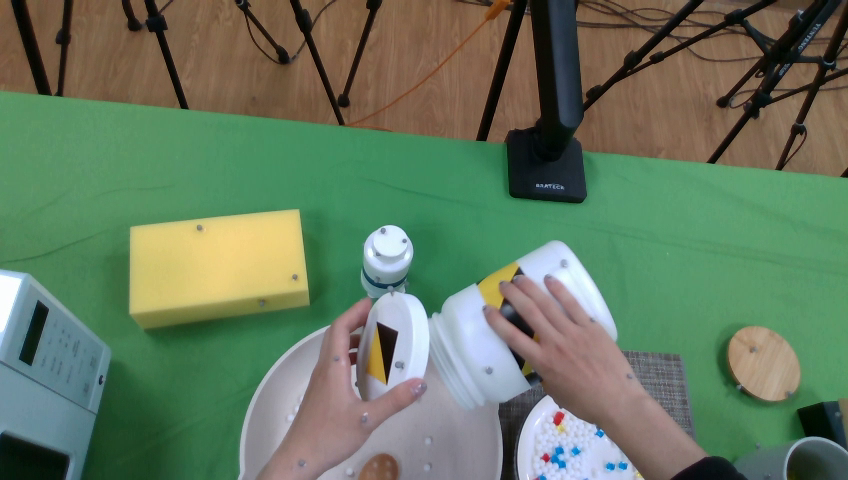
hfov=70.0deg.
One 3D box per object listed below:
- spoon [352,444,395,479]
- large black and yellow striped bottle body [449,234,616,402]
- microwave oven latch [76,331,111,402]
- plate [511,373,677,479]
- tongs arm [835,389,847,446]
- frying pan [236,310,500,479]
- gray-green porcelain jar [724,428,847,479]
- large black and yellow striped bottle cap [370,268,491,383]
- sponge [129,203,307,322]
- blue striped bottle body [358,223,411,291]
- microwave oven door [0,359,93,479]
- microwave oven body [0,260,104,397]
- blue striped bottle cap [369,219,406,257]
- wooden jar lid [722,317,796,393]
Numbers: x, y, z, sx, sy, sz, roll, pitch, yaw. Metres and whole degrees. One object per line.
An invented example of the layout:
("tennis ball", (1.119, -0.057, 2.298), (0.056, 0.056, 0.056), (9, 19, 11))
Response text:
("spoon", (-0.095, 0.293, 0.659), (0.041, 0.022, 0.193), (43, 39, 10))
("large black and yellow striped bottle body", (0.100, 0.089, 0.670), (0.184, 0.131, 0.130), (-28, 71, 3))
("microwave oven latch", (-0.383, 0.144, 0.695), (0.030, 0.029, 0.078), (5, 65, -7))
("plate", (0.207, 0.271, 0.751), (0.209, 0.038, 0.207), (4, 65, -7))
("tongs arm", (0.567, 0.376, 0.736), (0.051, 0.026, 0.382), (0, 75, -11))
("frying pan", (-0.020, 0.311, 0.658), (0.307, 0.103, 0.483), (-17, 61, -16))
("gray-green porcelain jar", (0.440, 0.291, 0.736), (0.106, 0.127, 0.105), (4, 64, -7))
("large black and yellow striped bottle cap", (0.006, 0.077, 0.556), (0.115, 0.019, 0.114), (15, 48, -17))
("sponge", (-0.260, 0.027, 0.778), (0.207, 0.061, 0.117), (-8, 67, -14))
("blue striped bottle body", (-0.052, 0.018, 0.783), (0.063, 0.121, 0.062), (4, 64, -8))
("microwave oven door", (-0.380, 0.297, 0.510), (0.039, 0.245, 0.353), (5, 64, -7))
("microwave oven body", (-0.522, 0.248, 0.515), (0.327, 0.261, 0.438), (5, 65, -7))
("blue striped bottle cap", (-0.044, -0.003, 0.737), (0.044, 0.021, 0.044), (3, 62, -6))
("wooden jar lid", (0.472, 0.164, 0.860), (0.108, 0.021, 0.107), (3, 66, -7))
